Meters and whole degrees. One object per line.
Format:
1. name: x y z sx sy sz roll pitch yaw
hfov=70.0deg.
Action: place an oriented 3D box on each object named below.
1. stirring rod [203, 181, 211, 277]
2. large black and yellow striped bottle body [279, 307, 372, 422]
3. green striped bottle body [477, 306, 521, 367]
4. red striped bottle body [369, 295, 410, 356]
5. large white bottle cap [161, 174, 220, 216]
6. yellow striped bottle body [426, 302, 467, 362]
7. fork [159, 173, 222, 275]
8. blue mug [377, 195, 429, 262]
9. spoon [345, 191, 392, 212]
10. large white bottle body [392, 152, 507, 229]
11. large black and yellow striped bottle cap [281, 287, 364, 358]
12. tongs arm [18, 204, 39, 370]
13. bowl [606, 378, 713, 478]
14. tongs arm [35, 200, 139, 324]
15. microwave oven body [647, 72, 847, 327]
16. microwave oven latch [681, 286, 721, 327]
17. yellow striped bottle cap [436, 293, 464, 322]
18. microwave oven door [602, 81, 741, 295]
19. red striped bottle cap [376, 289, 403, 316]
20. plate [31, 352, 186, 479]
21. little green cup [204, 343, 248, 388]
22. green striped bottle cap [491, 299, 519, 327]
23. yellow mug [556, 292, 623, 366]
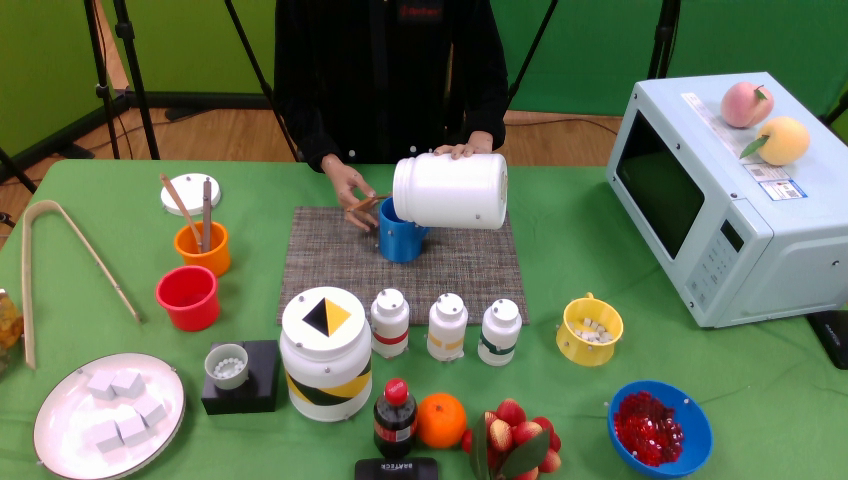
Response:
1. stirring rod: -0.396 -0.021 1.107 0.014 0.006 0.176 -1 89 -1
2. large black and yellow striped bottle body: -0.145 0.173 0.907 0.131 0.185 0.130 2 46 -2
3. green striped bottle body: 0.124 0.151 0.995 0.063 0.120 0.063 2 46 -1
4. red striped bottle body: -0.059 0.135 0.997 0.063 0.120 0.062 6 48 -6
5. large white bottle cap: -0.483 -0.095 1.253 0.115 0.018 0.114 2 46 -2
6. yellow striped bottle body: 0.037 0.142 0.996 0.063 0.121 0.062 2 46 -2
7. fork: -0.427 -0.029 1.103 0.028 0.018 0.207 -31 99 -30
8. blue mug: -0.034 -0.028 1.159 0.116 0.106 0.082 -23 53 -24
9. spoon: -0.090 -0.080 1.160 0.041 0.022 0.194 13 19 30
10. large white bottle body: 0.046 -0.087 1.056 0.184 0.131 0.130 2 45 15
11. large black and yellow striped bottle cap: -0.141 0.112 0.847 0.115 0.019 0.114 5 45 -4
12. tongs arm: -0.698 0.069 1.069 0.028 0.028 0.385 -20 50 -13
13. bowl: 0.340 0.292 0.906 0.151 0.077 0.150 2 46 -2
14. tongs arm: -0.622 0.034 1.105 0.051 0.026 0.382 -32 55 -25
15. microwave oven body: 0.607 -0.089 1.164 0.326 0.261 0.438 -7 46 -10
16. microwave oven latch: 0.494 0.119 1.086 0.030 0.029 0.078 -5 46 -9
17. yellow striped bottle cap: 0.041 0.106 0.959 0.044 0.019 0.044 0 47 0
18. microwave oven door: 0.456 -0.107 1.162 0.039 0.245 0.353 -7 47 -11
19. red striped bottle cap: -0.054 0.098 0.958 0.044 0.018 0.044 0 48 1
20. plate: -0.459 0.262 0.898 0.209 0.038 0.208 2 46 -2
21. little green cup: -0.294 0.190 0.909 0.061 0.039 0.061 1 48 -1
22. green striped bottle cap: 0.128 0.115 0.958 0.044 0.020 0.044 1 47 -1
23. yellow mug: 0.285 0.145 1.051 0.100 0.064 0.130 7 45 3
